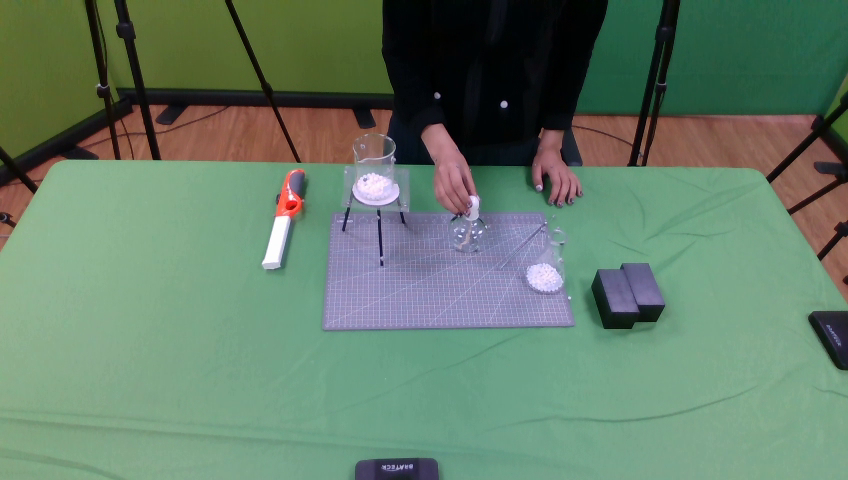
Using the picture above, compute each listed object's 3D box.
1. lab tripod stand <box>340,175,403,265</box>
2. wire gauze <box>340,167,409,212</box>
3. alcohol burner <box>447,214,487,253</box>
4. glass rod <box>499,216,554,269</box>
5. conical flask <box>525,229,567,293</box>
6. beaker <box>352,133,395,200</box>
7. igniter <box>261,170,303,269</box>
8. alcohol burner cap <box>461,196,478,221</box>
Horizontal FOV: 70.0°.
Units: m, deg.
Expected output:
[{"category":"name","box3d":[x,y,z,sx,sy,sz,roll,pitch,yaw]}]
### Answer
[{"category":"lab tripod stand","box3d":[-0.093,-0.050,1.160,0.148,0.132,0.147,2,44,-2]},{"category":"wire gauze","box3d":[-0.091,-0.095,1.111,0.125,0.011,0.120,1,43,-2]},{"category":"alcohol burner","box3d":[0.085,-0.033,1.171,0.078,0.119,0.077,4,45,-3]},{"category":"glass rod","box3d":[0.208,0.002,1.219,0.008,0.008,0.199,32,52,25]},{"category":"conical flask","box3d":[0.232,0.036,1.110,0.075,0.122,0.075,2,46,-2]},{"category":"beaker","box3d":[-0.091,-0.126,1.074,0.074,0.101,0.084,26,49,21]},{"category":"igniter","box3d":[-0.283,-0.050,1.222,0.057,0.025,0.275,-4,45,6]},{"category":"alcohol burner cap","box3d":[0.088,-0.061,1.140,0.034,0.048,0.033,0,46,0]}]
